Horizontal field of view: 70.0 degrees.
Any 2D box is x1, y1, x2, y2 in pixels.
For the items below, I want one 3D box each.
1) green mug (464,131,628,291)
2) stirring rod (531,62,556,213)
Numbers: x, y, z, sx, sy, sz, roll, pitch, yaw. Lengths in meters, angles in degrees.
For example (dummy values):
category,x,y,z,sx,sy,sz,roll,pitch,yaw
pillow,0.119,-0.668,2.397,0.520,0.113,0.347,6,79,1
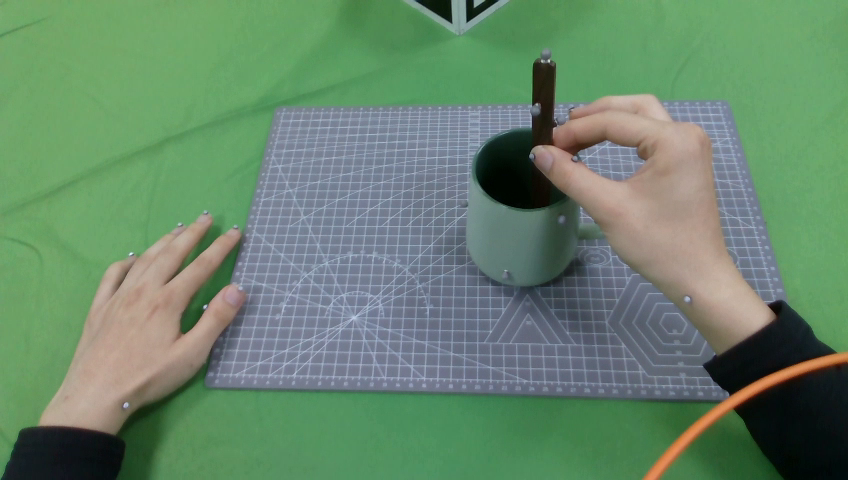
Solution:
category,x,y,z,sx,sy,sz,roll,pitch,yaw
green mug,0.093,-0.020,0.471,0.125,0.106,0.091,2,57,5
stirring rod,0.080,-0.048,0.414,0.014,0.178,0.006,17,59,21
